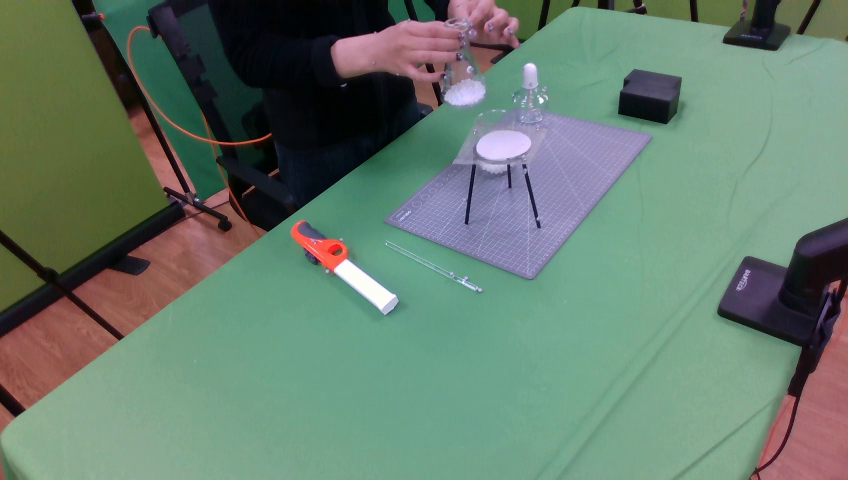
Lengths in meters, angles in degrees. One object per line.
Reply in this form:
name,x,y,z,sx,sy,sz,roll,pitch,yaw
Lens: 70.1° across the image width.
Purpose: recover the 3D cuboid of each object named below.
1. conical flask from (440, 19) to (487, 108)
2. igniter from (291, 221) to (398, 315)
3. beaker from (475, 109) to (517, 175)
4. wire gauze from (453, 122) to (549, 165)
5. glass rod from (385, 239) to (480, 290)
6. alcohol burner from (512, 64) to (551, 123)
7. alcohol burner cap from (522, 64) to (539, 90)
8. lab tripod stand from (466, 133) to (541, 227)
conical flask,0.054,-0.271,0.924,0.075,0.122,0.075,-6,39,6
igniter,-0.136,0.037,0.962,0.057,0.025,0.274,-41,48,-18
beaker,0.131,-0.174,1.101,0.073,0.101,0.084,17,47,29
wire gauze,0.121,-0.150,0.942,0.121,0.011,0.125,8,42,21
glass rod,0.009,0.037,0.949,0.198,0.008,0.008,26,52,34
alcohol burner,0.215,-0.298,1.220,0.078,0.120,0.077,-7,40,7
alcohol burner cap,0.210,-0.325,1.195,0.034,0.048,0.033,-6,45,7
lab tripod stand,0.129,-0.099,0.985,0.148,0.132,0.147,-6,38,6
